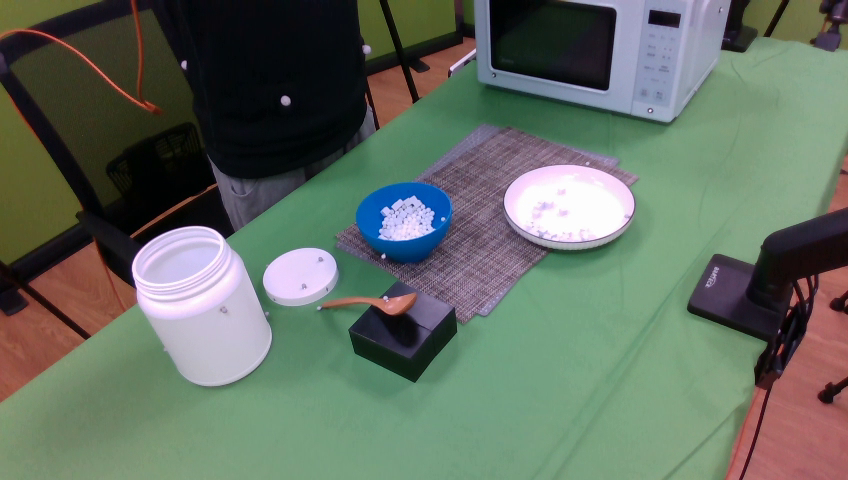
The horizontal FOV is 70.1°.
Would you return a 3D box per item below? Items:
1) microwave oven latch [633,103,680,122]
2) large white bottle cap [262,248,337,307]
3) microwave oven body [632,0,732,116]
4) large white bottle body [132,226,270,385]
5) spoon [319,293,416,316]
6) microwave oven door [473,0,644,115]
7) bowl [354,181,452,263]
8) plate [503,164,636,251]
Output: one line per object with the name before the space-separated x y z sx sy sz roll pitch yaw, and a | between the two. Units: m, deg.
microwave oven latch | 0.444 -0.249 1.158 0.078 0.029 0.030 21 49 30
large white bottle cap | -0.193 0.056 0.933 0.115 0.018 0.114 -5 41 5
microwave oven body | 0.377 -0.463 1.267 0.438 0.261 0.327 21 49 30
large white bottle body | -0.286 0.085 0.784 0.130 0.185 0.130 -4 41 4
spoon | -0.082 0.086 0.826 0.192 0.022 0.041 -3 37 41
microwave oven door | 0.257 -0.396 1.199 0.353 0.245 0.039 21 48 29
bowl | -0.028 -0.017 0.943 0.151 0.077 0.150 -4 40 4
plate | 0.232 -0.050 0.976 0.209 0.038 0.208 -3 41 3
